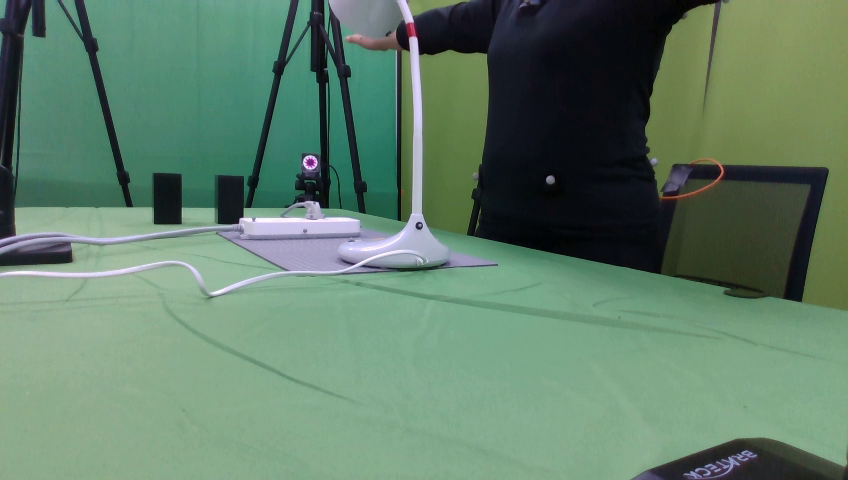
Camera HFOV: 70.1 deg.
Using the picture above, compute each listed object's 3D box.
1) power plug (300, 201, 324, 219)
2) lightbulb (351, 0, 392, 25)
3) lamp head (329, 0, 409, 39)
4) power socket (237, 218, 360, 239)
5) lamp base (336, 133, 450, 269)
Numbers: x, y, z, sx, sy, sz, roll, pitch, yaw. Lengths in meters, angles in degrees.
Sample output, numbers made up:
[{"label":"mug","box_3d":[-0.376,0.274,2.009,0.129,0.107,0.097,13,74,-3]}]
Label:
[{"label":"power plug","box_3d":[-0.207,-0.046,1.120,0.035,0.052,0.072,2,4,-22]},{"label":"lightbulb","box_3d":[-0.070,-0.355,0.866,0.060,0.059,0.107,0,-21,-20]},{"label":"lamp head","box_3d":[-0.062,-0.357,0.842,0.113,0.112,0.122,-1,-14,-29]},{"label":"power socket","box_3d":[-0.220,-0.023,1.080,0.228,0.032,0.072,-2,8,-33]},{"label":"lamp base","box_3d":[-0.032,-0.057,0.830,0.161,0.180,0.178,-2,11,-34]}]
